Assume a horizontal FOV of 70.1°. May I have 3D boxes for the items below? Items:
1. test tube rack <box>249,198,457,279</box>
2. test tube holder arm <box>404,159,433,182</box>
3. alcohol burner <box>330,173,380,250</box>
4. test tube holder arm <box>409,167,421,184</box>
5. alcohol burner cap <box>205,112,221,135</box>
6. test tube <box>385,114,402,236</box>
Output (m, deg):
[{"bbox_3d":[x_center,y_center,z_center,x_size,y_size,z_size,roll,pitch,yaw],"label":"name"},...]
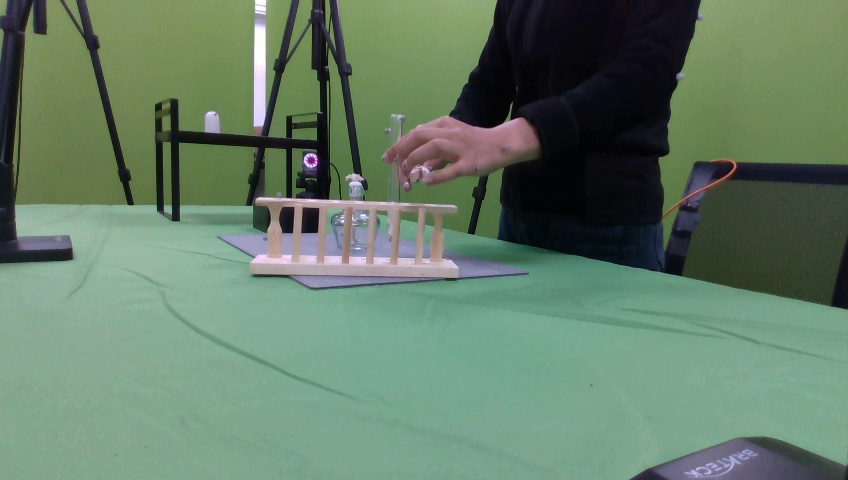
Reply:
[{"bbox_3d":[-0.082,-0.002,0.732,0.243,0.085,0.066,2,8,-7],"label":"test tube rack"},{"bbox_3d":[-0.010,-0.103,0.888,0.013,0.015,0.178,-5,14,-10],"label":"test tube holder arm"},{"bbox_3d":[-0.108,-0.044,0.938,0.078,0.119,0.078,1,6,0],"label":"alcohol burner"},{"bbox_3d":[-0.011,-0.092,0.845,0.010,0.015,0.088,-2,14,6],"label":"test tube holder arm"},{"bbox_3d":[-0.443,-0.245,1.270,0.034,0.048,0.034,3,8,0],"label":"alcohol burner cap"},{"bbox_3d":[-0.037,-0.078,0.745,0.017,0.150,0.017,3,7,0],"label":"test tube"}]
